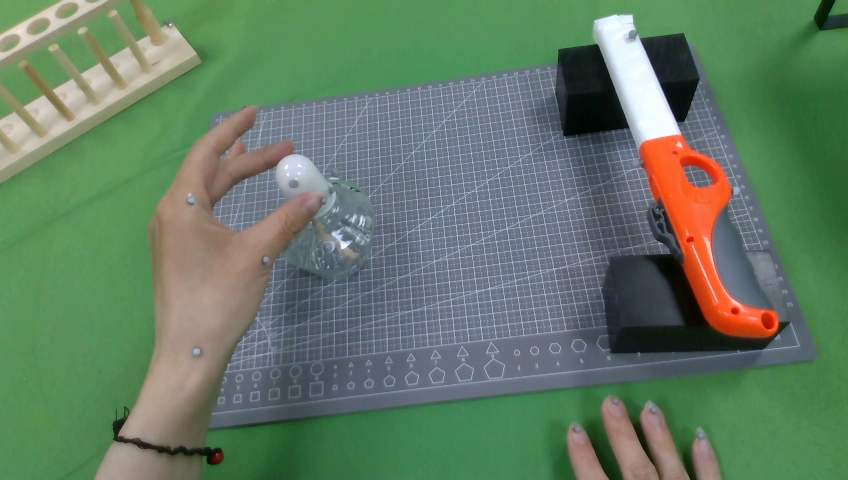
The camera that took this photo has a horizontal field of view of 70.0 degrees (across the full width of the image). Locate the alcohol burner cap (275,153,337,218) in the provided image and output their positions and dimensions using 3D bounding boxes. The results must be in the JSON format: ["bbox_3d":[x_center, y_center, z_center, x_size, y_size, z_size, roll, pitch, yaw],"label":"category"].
[{"bbox_3d":[-0.082,-0.040,0.411,0.034,0.048,0.033,-5,63,10],"label":"alcohol burner cap"}]

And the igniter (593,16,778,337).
[{"bbox_3d":[0.170,-0.059,0.420,0.057,0.025,0.274,-11,58,4],"label":"igniter"}]

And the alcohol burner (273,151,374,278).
[{"bbox_3d":[-0.078,-0.022,0.441,0.078,0.120,0.077,-4,58,7],"label":"alcohol burner"}]

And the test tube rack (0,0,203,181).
[{"bbox_3d":[-0.347,-0.156,0.576,0.242,0.086,0.066,-35,62,-12],"label":"test tube rack"}]
